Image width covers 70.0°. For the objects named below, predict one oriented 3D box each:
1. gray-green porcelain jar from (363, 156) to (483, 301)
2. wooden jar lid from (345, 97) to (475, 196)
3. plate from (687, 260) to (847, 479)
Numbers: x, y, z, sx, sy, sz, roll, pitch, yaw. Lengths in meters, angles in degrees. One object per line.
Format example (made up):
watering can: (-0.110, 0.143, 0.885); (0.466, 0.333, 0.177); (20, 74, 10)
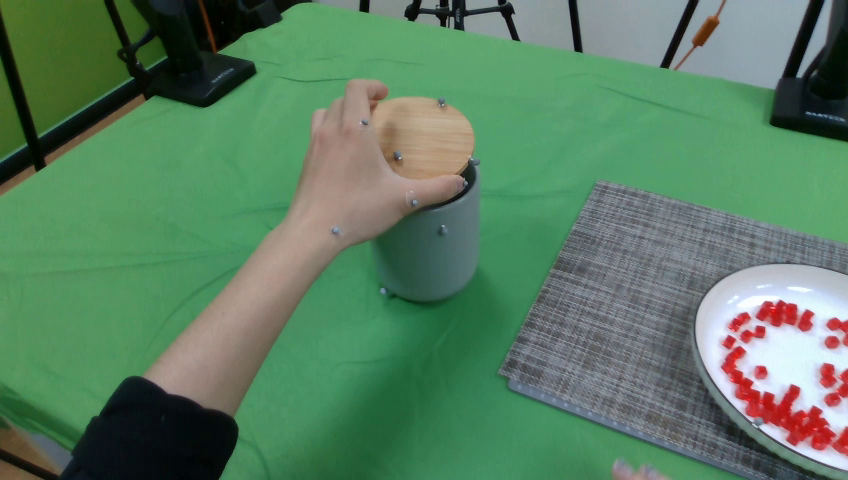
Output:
gray-green porcelain jar: (0.001, -0.013, 0.572); (0.106, 0.127, 0.105); (-1, 44, 1)
wooden jar lid: (-0.012, -0.078, 0.507); (0.108, 0.021, 0.107); (0, 53, 1)
plate: (0.321, 0.103, 0.493); (0.207, 0.039, 0.205); (-1, 44, 2)
